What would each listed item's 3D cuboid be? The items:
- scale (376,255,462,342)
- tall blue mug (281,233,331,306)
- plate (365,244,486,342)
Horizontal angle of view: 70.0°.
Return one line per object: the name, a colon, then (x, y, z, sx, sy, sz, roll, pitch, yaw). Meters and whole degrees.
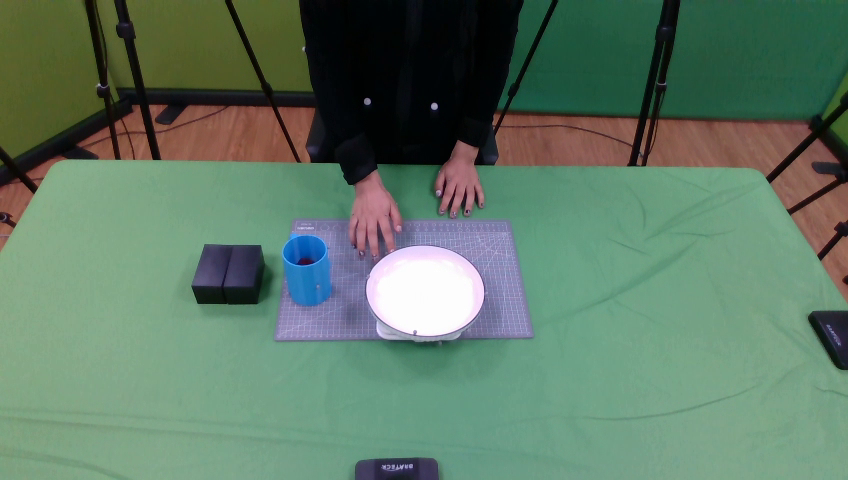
scale: (-0.010, 0.096, 1.094, 0.149, 0.032, 0.199, 2, 46, -3)
tall blue mug: (-0.219, 0.046, 1.073, 0.107, 0.108, 0.077, 28, 52, 21)
plate: (0.001, 0.093, 1.051, 0.209, 0.038, 0.208, 1, 46, -1)
